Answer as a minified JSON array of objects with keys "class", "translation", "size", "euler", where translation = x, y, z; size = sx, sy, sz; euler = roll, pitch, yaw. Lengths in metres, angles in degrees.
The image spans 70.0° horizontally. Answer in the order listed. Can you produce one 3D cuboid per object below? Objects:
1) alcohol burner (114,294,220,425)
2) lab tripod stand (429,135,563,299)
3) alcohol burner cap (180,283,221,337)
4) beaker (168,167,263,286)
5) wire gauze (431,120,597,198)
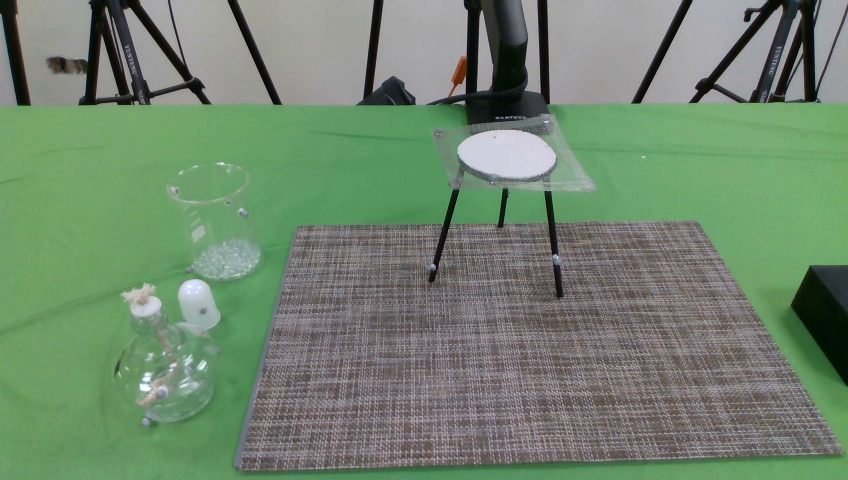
[{"class":"alcohol burner","translation":[-0.198,0.085,0.459],"size":[0.078,0.120,0.077],"euler":[2,39,-1]},{"class":"lab tripod stand","translation":[0.077,-0.022,0.580],"size":[0.148,0.132,0.147],"euler":[2,37,-1]},{"class":"alcohol burner cap","translation":[-0.205,0.061,0.550],"size":[0.034,0.048,0.033],"euler":[1,38,0]},{"class":"beaker","translation":[-0.200,-0.013,0.600],"size":[0.074,0.101,0.083],"euler":[9,37,10]},{"class":"wire gauze","translation":[0.074,-0.072,0.535],"size":[0.125,0.011,0.120],"euler":[-3,38,-6]}]
